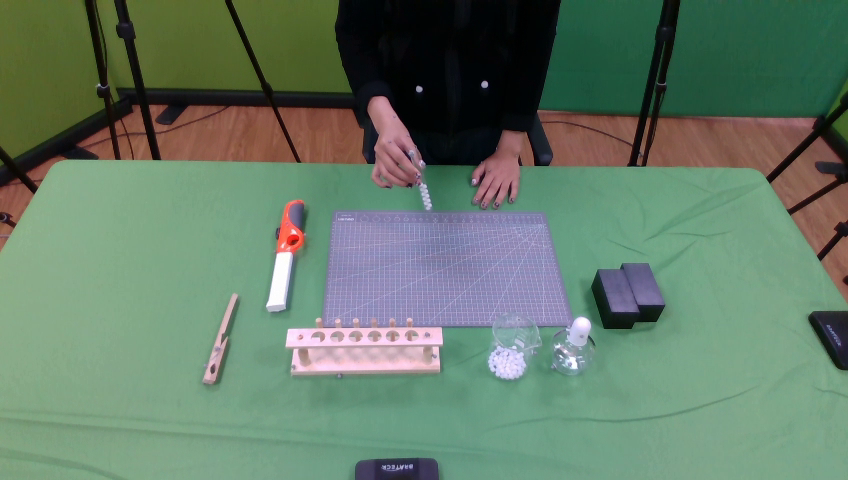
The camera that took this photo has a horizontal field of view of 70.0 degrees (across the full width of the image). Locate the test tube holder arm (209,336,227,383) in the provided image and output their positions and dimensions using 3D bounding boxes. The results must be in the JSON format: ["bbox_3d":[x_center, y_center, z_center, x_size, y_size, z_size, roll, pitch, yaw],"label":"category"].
[{"bbox_3d":[-0.338,0.193,0.991,0.010,0.015,0.087,28,39,-26],"label":"test tube holder arm"}]

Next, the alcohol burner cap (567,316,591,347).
[{"bbox_3d":[0.249,0.143,0.965,0.034,0.048,0.033,4,40,-3],"label":"alcohol burner cap"}]

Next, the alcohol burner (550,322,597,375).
[{"bbox_3d":[0.248,0.168,0.991,0.078,0.119,0.077,2,48,-2],"label":"alcohol burner"}]

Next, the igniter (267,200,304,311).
[{"bbox_3d":[-0.263,0.020,1.156,0.057,0.025,0.274,-6,46,4],"label":"igniter"}]

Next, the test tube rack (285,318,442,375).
[{"bbox_3d":[-0.095,0.168,0.986,0.242,0.085,0.066,0,46,-4],"label":"test tube rack"}]

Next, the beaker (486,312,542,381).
[{"bbox_3d":[0.144,0.177,0.985,0.084,0.101,0.074,22,49,16],"label":"beaker"}]

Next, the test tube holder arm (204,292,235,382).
[{"bbox_3d":[-0.343,0.159,1.020,0.013,0.015,0.177,27,39,-27],"label":"test tube holder arm"}]

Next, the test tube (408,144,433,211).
[{"bbox_3d":[-0.005,-0.109,1.088,0.017,0.151,0.017,-9,45,9],"label":"test tube"}]
